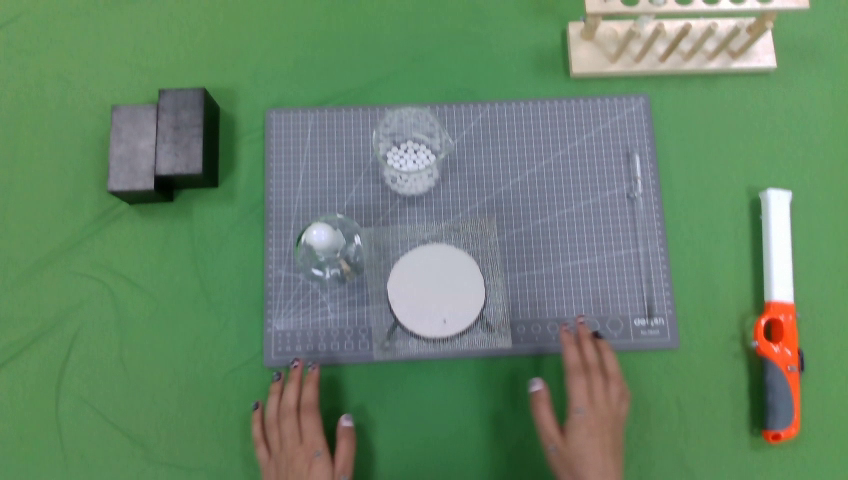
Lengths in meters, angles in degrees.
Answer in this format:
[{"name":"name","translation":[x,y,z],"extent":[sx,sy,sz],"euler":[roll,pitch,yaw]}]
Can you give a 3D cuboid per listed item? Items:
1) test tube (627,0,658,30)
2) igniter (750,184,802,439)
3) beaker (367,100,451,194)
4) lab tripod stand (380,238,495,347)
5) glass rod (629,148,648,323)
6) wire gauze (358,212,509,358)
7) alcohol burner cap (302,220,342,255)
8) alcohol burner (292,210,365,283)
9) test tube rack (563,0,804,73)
[{"name":"test tube","translation":[0.251,-0.270,0.645],"extent":[0.017,0.150,0.017],"euler":[1,77,-5]},{"name":"igniter","translation":[0.382,0.074,0.659],"extent":[0.057,0.025,0.275],"euler":[7,79,-10]},{"name":"beaker","translation":[-0.015,-0.094,0.648],"extent":[0.084,0.100,0.073],"euler":[6,79,0]},{"name":"lab tripod stand","translation":[0.008,0.055,0.602],"extent":[0.148,0.132,0.147],"euler":[0,78,1]},{"name":"glass rod","translation":[0.241,-0.007,0.680],"extent":[0.008,0.008,0.199],"euler":[-1,82,-1]},{"name":"wire gauze","translation":[0.008,0.038,0.537],"extent":[0.125,0.011,0.121],"euler":[-6,78,-2]},{"name":"alcohol burner cap","translation":[-0.100,-0.004,0.586],"extent":[0.034,0.048,0.034],"euler":[-1,83,6]},{"name":"alcohol burner","translation":[-0.100,0.003,0.621],"extent":[0.078,0.119,0.077],"euler":[0,76,0]},{"name":"test tube rack","translation":[0.290,-0.245,0.691],"extent":[0.242,0.085,0.066],"euler":[-2,78,-1]}]
